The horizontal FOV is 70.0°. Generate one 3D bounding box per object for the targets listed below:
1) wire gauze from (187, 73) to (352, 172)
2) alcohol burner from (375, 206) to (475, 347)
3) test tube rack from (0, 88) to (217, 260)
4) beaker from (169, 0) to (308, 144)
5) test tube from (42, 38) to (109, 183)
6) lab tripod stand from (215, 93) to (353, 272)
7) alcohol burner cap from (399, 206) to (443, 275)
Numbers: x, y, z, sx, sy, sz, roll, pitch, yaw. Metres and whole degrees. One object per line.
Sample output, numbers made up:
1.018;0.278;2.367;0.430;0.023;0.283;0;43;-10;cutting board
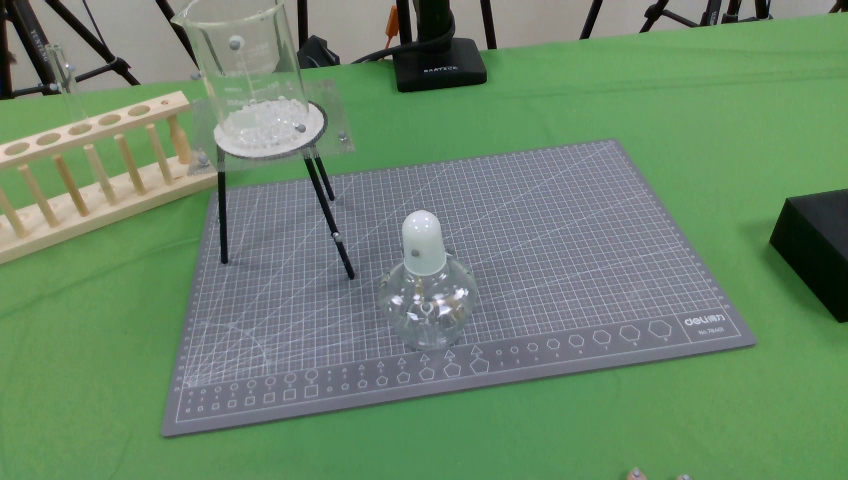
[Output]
-0.127;-0.096;0.488;0.125;0.011;0.120;-14;41;-6;wire gauze
0.000;0.024;0.458;0.078;0.120;0.077;-2;40;2;alcohol burner
-0.345;-0.068;0.612;0.243;0.086;0.066;-24;46;-21;test tube rack
-0.133;-0.129;0.452;0.084;0.101;0.073;-6;42;0;beaker
-0.341;-0.122;0.597;0.017;0.151;0.017;0;36;0;test tube
-0.123;-0.048;0.532;0.148;0.133;0.147;-3;44;3;lab tripod stand
-0.004;-0.002;0.434;0.034;0.048;0.033;-3;44;3;alcohol burner cap
